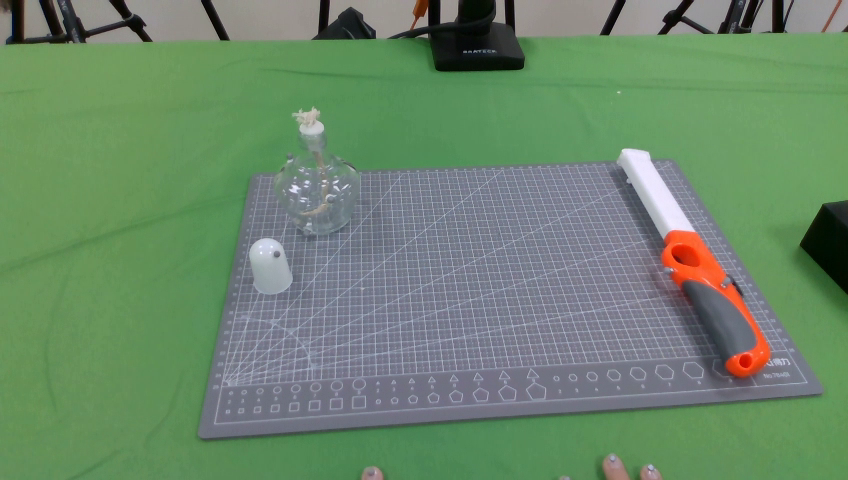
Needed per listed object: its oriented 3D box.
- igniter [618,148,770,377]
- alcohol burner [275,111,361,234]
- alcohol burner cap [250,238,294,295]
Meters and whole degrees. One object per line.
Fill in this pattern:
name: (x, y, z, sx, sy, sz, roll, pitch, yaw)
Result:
igniter: (0.230, 0.004, 0.538, 0.057, 0.025, 0.273, 5, 42, -11)
alcohol burner: (-0.095, -0.064, 0.537, 0.078, 0.120, 0.077, 2, 44, -2)
alcohol burner cap: (-0.127, 0.019, 0.500, 0.034, 0.048, 0.033, 2, 43, -1)
